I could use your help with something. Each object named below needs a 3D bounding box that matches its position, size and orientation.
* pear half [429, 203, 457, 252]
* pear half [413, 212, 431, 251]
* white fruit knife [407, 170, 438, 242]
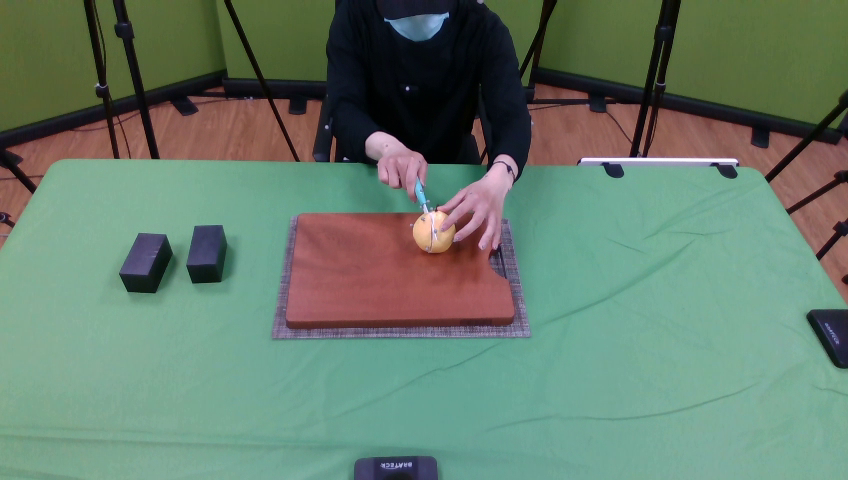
[{"bbox_3d":[0.034,-0.029,1.124,0.056,0.110,0.076,-8,51,-13],"label":"pear half"},{"bbox_3d":[-0.005,-0.017,1.124,0.031,0.088,0.070,-13,54,-10],"label":"pear half"},{"bbox_3d":[-0.001,-0.069,1.143,0.016,0.027,0.206,-7,46,-14],"label":"white fruit knife"}]
